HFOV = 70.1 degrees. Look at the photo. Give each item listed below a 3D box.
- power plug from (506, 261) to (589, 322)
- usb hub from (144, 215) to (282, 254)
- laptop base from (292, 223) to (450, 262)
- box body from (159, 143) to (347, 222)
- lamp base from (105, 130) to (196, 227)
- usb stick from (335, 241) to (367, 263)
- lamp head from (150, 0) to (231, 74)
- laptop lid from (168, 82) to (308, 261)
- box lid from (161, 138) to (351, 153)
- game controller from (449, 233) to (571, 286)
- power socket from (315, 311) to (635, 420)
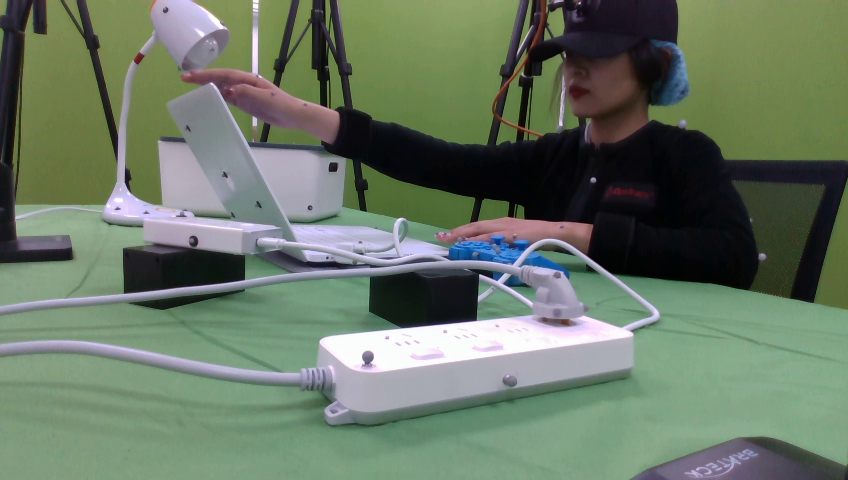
[{"bbox_3d":[0.091,0.043,0.444,0.035,0.052,0.072,-1,5,-18],"label":"power plug"},{"bbox_3d":[-0.200,-0.006,0.573,0.125,0.025,0.050,6,7,23],"label":"usb hub"},{"bbox_3d":[-0.127,0.002,0.946,0.237,0.023,0.352,2,6,-31],"label":"laptop base"},{"bbox_3d":[-0.384,-0.137,1.406,0.364,0.160,0.254,3,8,7],"label":"box body"},{"bbox_3d":[-0.532,-0.120,1.153,0.179,0.180,0.161,1,7,8],"label":"lamp base"},{"bbox_3d":[-0.093,0.015,0.741,0.021,0.027,0.059,-4,1,-34],"label":"usb stick"},{"bbox_3d":[-0.432,-0.374,1.086,0.123,0.112,0.112,42,8,-2],"label":"lamp head"},{"bbox_3d":[-0.273,-0.094,0.844,0.013,0.242,0.355,-33,24,-22],"label":"laptop lid"},{"bbox_3d":[-0.371,-0.215,1.394,0.371,0.015,0.263,4,8,7],"label":"box lid"},{"bbox_3d":[0.101,0.021,0.760,0.097,0.051,0.154,-7,10,-30],"label":"game controller"},{"bbox_3d":[0.039,0.072,0.385,0.228,0.032,0.072,-2,7,-29],"label":"power socket"}]
